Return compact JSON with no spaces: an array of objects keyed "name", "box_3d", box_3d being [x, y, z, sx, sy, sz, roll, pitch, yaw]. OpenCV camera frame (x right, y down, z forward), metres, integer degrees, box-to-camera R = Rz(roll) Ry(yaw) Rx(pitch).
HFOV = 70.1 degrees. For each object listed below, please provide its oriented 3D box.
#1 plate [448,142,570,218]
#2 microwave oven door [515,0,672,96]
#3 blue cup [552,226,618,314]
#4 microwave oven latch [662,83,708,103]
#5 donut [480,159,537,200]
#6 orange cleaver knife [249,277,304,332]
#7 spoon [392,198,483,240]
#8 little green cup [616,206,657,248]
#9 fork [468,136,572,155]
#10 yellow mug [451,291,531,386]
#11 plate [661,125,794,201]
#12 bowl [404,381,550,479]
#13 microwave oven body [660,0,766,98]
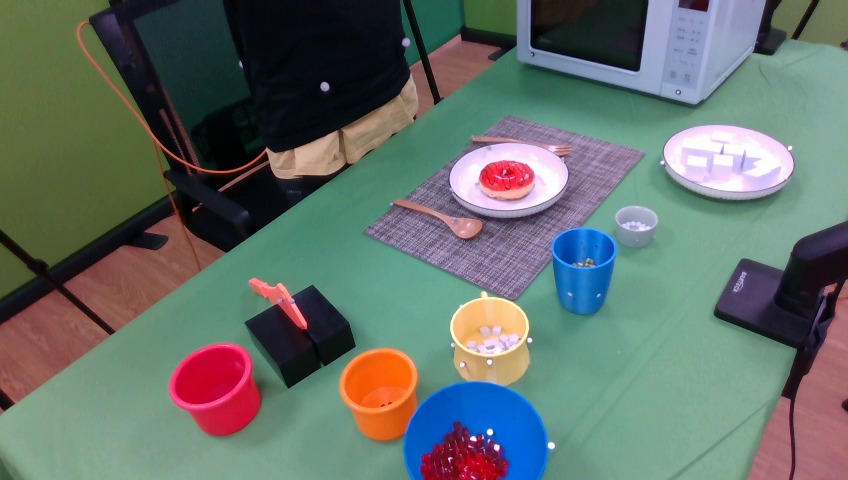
[{"name":"plate","box_3d":[0.148,-0.101,1.053,0.209,0.038,0.208,-4,40,4]},{"name":"microwave oven door","box_3d":[0.344,-0.455,1.259,0.353,0.245,0.039,26,51,33]},{"name":"blue cup","box_3d":[0.218,0.047,0.825,0.092,0.100,0.092,-6,40,5]},{"name":"microwave oven latch","box_3d":[0.518,-0.297,1.204,0.078,0.029,0.030,28,52,35]},{"name":"donut","box_3d":[0.145,-0.106,1.042,0.099,0.048,0.098,-4,38,4]},{"name":"orange cleaver knife","box_3d":[-0.210,0.089,0.855,0.012,0.077,0.210,-27,14,-25]},{"name":"spoon","box_3d":[0.018,-0.042,1.016,0.192,0.022,0.041,24,73,31]},{"name":"little green cup","box_3d":[0.327,-0.019,0.935,0.061,0.039,0.061,-4,40,4]},{"name":"fork","box_3d":[0.181,-0.184,1.160,0.206,0.019,0.028,13,59,21]},{"name":"yellow mug","box_3d":[0.085,0.120,0.786,0.100,0.064,0.130,-7,39,1]},{"name":"plate","box_3d":[0.513,-0.128,1.035,0.207,0.039,0.206,-4,40,4]},{"name":"bowl","box_3d":[0.058,0.235,0.645,0.151,0.077,0.150,-4,39,4]},{"name":"microwave oven body","box_3d":[0.472,-0.513,1.317,0.438,0.261,0.327,26,51,34]}]
